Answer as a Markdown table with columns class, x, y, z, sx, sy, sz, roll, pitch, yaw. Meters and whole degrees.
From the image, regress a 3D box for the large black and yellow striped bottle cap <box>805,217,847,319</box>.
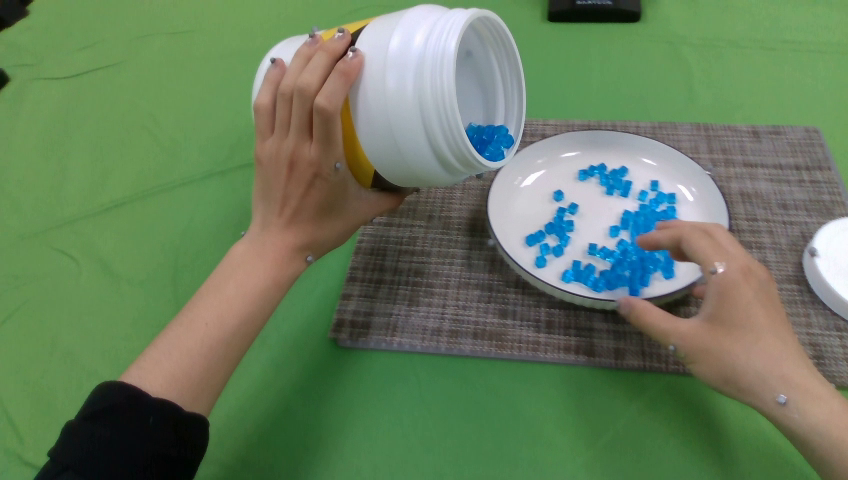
| class | x | y | z | sx | sy | sz | roll | pitch | yaw |
| --- | --- | --- | --- | --- | --- | --- | --- | --- | --- |
| large black and yellow striped bottle cap | 0.377 | 0.028 | 0.496 | 0.115 | 0.019 | 0.114 | 0 | 51 | 1 |

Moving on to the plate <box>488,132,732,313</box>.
| class | x | y | z | sx | sy | sz | roll | pitch | yaw |
| --- | --- | --- | --- | --- | --- | --- | --- | --- | --- |
| plate | 0.161 | -0.017 | 0.544 | 0.207 | 0.039 | 0.205 | -3 | 49 | 4 |

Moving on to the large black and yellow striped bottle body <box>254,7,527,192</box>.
| class | x | y | z | sx | sy | sz | roll | pitch | yaw |
| --- | --- | --- | --- | --- | --- | --- | --- | --- | --- |
| large black and yellow striped bottle body | -0.025 | -0.105 | 0.474 | 0.183 | 0.132 | 0.130 | 1 | 46 | 35 |
